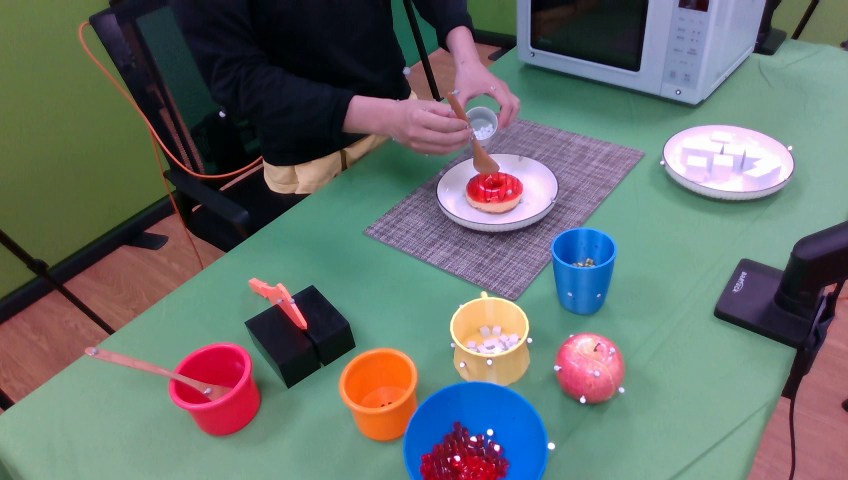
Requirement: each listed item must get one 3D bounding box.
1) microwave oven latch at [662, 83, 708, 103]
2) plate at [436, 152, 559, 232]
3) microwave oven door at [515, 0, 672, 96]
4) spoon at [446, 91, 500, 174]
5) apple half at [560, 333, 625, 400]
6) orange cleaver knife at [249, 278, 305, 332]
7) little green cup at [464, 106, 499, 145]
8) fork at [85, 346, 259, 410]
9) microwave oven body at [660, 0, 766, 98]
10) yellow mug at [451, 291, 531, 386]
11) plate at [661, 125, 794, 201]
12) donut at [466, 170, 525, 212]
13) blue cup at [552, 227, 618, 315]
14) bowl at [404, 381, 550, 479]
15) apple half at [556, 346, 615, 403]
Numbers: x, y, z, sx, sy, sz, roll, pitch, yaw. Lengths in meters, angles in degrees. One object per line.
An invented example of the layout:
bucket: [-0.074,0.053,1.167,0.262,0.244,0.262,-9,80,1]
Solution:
microwave oven latch: [0.517,-0.296,1.204,0.078,0.029,0.030,27,52,35]
plate: [0.125,-0.078,1.029,0.209,0.038,0.208,-4,41,4]
microwave oven door: [0.344,-0.455,1.260,0.353,0.245,0.039,26,51,33]
spoon: [0.070,-0.155,0.897,0.041,0.195,0.021,-2,56,27]
apple half: [0.209,0.147,0.730,0.080,0.075,0.053,26,48,38]
orange cleaver knife: [-0.210,0.089,0.855,0.012,0.077,0.210,-28,15,-25]
little green cup: [0.098,-0.194,1.039,0.061,0.039,0.061,-1,74,2]
fork: [-0.298,0.166,0.727,0.209,0.018,0.028,28,47,-24]
microwave oven body: [0.473,-0.513,1.317,0.438,0.261,0.327,26,51,34]
yellow mug: [0.086,0.120,0.786,0.100,0.064,0.130,-7,39,2]
plate: [0.513,-0.128,1.035,0.207,0.039,0.206,-4,40,4]
donut: [0.121,-0.083,1.019,0.099,0.048,0.098,-4,38,4]
blue cup: [0.218,0.047,0.825,0.092,0.100,0.092,-6,39,5]
bowl: [0.058,0.235,0.645,0.151,0.077,0.150,-4,39,4]
apple half: [0.181,0.167,0.709,0.080,0.081,0.033,29,50,35]
